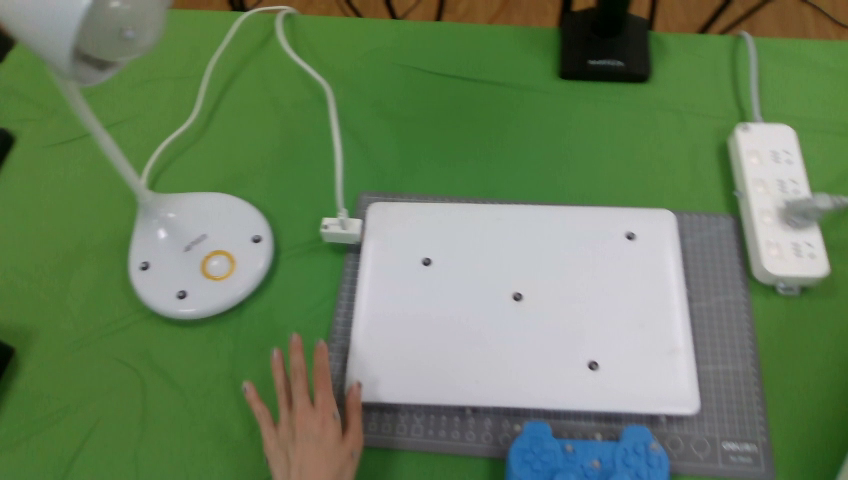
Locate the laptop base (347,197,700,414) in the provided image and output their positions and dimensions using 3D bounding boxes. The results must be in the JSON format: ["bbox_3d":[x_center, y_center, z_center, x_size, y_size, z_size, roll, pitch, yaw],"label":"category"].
[{"bbox_3d":[0.104,0.063,0.659,0.354,0.023,0.233,2,66,3],"label":"laptop base"}]

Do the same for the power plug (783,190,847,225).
[{"bbox_3d":[0.431,-0.029,0.661,0.072,0.053,0.035,13,63,8],"label":"power plug"}]

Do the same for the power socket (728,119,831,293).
[{"bbox_3d":[0.405,-0.048,0.698,0.072,0.033,0.225,4,62,3],"label":"power socket"}]

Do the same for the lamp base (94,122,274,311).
[{"bbox_3d":[-0.267,-0.035,0.633,0.178,0.182,0.160,29,66,20],"label":"lamp base"}]

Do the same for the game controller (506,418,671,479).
[{"bbox_3d":[0.152,0.217,0.559,0.155,0.052,0.096,3,60,3],"label":"game controller"}]

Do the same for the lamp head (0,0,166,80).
[{"bbox_3d":[-0.228,-0.173,0.361,0.123,0.112,0.112,31,65,-8],"label":"lamp head"}]

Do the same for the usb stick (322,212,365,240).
[{"bbox_3d":[-0.085,-0.016,0.693,0.059,0.027,0.021,6,57,2],"label":"usb stick"}]

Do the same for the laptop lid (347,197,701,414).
[{"bbox_3d":[0.103,0.060,0.647,0.356,0.013,0.240,3,65,4],"label":"laptop lid"}]

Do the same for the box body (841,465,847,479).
[{"bbox_3d":[0.561,0.158,0.509,0.252,0.161,0.363,35,69,19],"label":"box body"}]
